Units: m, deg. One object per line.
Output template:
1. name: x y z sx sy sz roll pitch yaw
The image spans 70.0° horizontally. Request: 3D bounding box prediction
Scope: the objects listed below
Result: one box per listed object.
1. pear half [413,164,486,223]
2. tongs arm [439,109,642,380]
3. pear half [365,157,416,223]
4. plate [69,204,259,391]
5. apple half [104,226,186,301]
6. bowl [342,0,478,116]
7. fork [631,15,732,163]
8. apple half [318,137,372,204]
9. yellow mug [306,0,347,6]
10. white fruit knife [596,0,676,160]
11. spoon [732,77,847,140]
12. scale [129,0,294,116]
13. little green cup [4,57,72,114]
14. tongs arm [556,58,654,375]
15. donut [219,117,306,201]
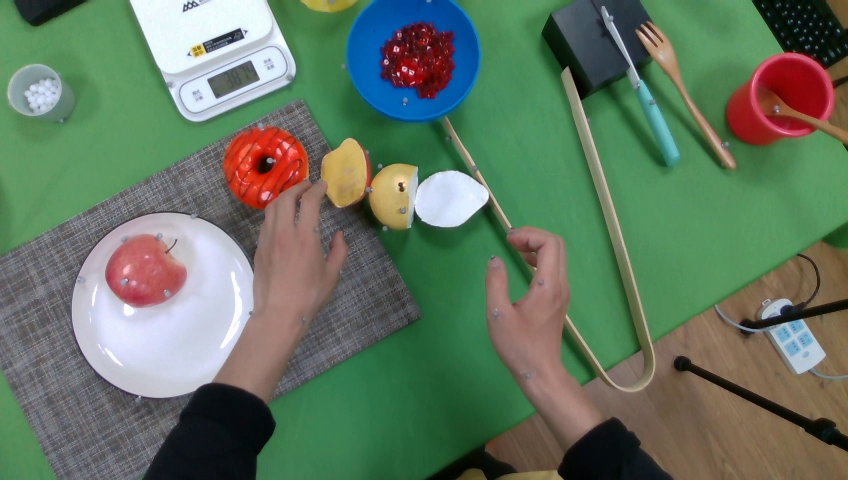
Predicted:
1. pear half: 0.032 -0.053 0.715 0.088 0.031 0.070 -3 83 13
2. tongs arm: 0.135 0.003 0.714 0.051 0.026 0.384 -30 88 -10
3. pear half: -0.039 -0.060 0.676 0.056 0.110 0.076 3 80 0
4. plate: -0.289 0.064 0.689 0.209 0.038 0.208 0 85 -2
5. apple half: -0.316 0.027 0.674 0.074 0.053 0.081 -35 90 -3
6. bowl: -0.016 -0.209 0.704 0.151 0.077 0.151 0 86 -2
7. fork: 0.309 -0.176 0.719 0.028 0.018 0.208 -39 103 -6
8. apple half: -0.084 -0.082 0.710 0.080 0.033 0.082 14 116 33
9. yellow mug: -0.135 -0.348 0.718 0.131 0.064 0.100 28 85 2
10. white fruit knife: 0.248 -0.186 0.710 0.016 0.027 0.208 -31 101 -4
11. spoon: 0.429 -0.139 0.680 0.041 0.022 0.191 -35 43 -5
12. scale: -0.259 -0.263 0.724 0.149 0.031 0.200 -25 87 -3
13. little green cup: -0.448 -0.177 0.707 0.061 0.038 0.061 0 85 -1
14. tongs arm: 0.214 -0.032 0.725 0.028 0.028 0.386 -14 86 -12
15. donut: -0.187 -0.093 0.702 0.099 0.048 0.099 0 87 0
